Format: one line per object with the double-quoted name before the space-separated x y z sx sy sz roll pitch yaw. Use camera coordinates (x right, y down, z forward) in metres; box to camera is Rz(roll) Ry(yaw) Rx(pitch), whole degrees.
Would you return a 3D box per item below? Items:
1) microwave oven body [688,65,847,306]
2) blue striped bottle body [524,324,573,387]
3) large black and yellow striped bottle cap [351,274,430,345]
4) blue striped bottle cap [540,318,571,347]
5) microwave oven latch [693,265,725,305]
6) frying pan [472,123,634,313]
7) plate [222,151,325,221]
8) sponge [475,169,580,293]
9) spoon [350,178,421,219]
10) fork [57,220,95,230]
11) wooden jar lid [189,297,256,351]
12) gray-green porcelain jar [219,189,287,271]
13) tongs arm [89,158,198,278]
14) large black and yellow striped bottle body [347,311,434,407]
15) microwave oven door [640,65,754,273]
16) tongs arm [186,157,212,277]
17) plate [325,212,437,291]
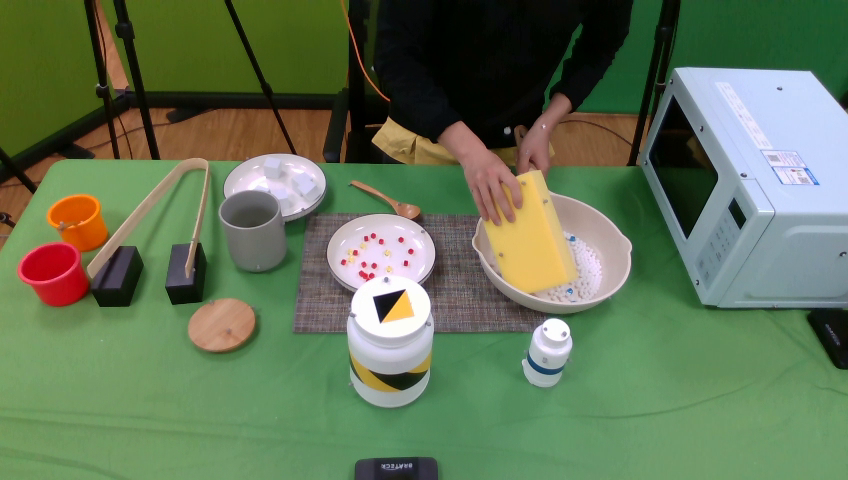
"microwave oven body" 0.669 -0.111 1.176 0.326 0.261 0.439 0 46 -3
"blue striped bottle body" 0.200 0.178 0.970 0.063 0.121 0.062 2 46 -2
"large black and yellow striped bottle cap" -0.048 0.097 0.867 0.115 0.019 0.114 3 48 -3
"blue striped bottle cap" 0.203 0.142 0.933 0.044 0.021 0.044 3 49 -3
"microwave oven latch" 0.523 0.082 1.116 0.030 0.029 0.078 2 46 -1
"frying pan" 0.235 -0.060 1.207 0.307 0.103 0.484 1 55 -6
"plate" -0.310 -0.106 1.262 0.208 0.039 0.206 2 47 -2
"sponge" 0.184 -0.012 1.083 0.061 0.118 0.206 -16 87 -59
"spoon" -0.084 -0.093 1.272 0.193 0.022 0.041 31 69 25
"fork" -0.624 -0.027 1.087 0.028 0.207 0.018 -3 92 -17
"wooden jar lid" -0.342 0.145 1.033 0.108 0.021 0.107 2 45 -2
"gray-green porcelain jar" -0.310 -0.014 1.113 0.106 0.127 0.105 2 46 -2
"tongs arm" -0.529 -0.057 1.164 0.028 0.028 0.385 1 36 8
"large black and yellow striped bottle body" -0.052 0.157 0.929 0.131 0.185 0.130 2 47 -2
"microwave oven door" 0.523 -0.147 1.193 0.039 0.245 0.353 0 47 -3
"tongs arm" -0.445 -0.058 1.168 0.051 0.026 0.382 -5 37 -6
"plate" -0.080 0.030 1.143 0.209 0.038 0.208 3 46 -3
